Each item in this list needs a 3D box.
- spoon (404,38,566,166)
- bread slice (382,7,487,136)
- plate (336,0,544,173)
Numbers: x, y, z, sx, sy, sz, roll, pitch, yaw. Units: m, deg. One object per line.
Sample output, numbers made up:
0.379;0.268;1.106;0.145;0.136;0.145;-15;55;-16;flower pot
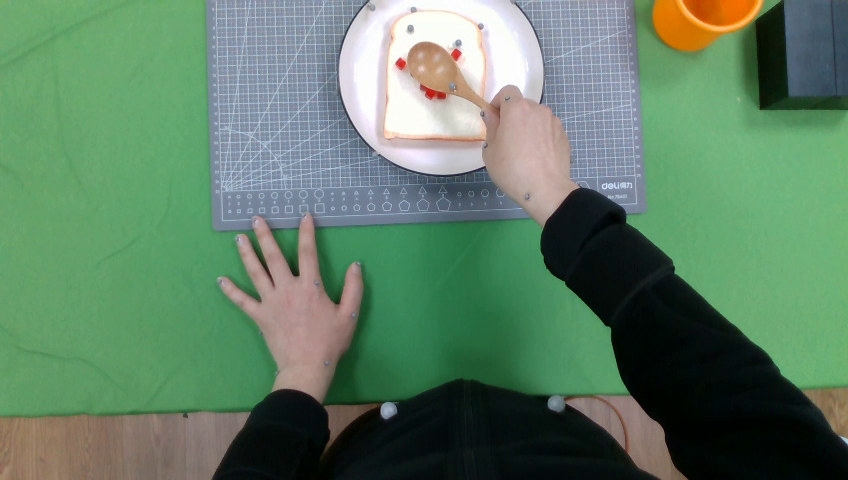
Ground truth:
0.057;-0.130;0.574;0.192;0.022;0.041;41;86;17;spoon
0.008;-0.170;0.619;0.107;0.018;0.134;-2;88;-3;bread slice
0.016;-0.169;0.618;0.209;0.038;0.208;0;87;-3;plate
